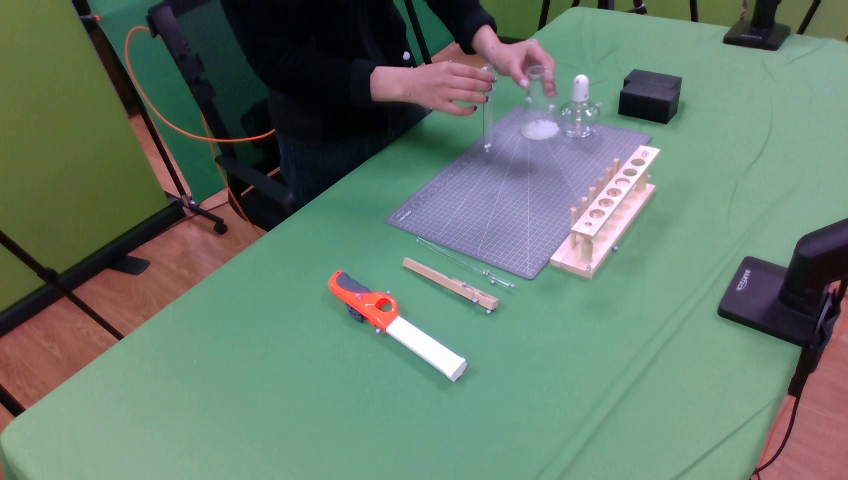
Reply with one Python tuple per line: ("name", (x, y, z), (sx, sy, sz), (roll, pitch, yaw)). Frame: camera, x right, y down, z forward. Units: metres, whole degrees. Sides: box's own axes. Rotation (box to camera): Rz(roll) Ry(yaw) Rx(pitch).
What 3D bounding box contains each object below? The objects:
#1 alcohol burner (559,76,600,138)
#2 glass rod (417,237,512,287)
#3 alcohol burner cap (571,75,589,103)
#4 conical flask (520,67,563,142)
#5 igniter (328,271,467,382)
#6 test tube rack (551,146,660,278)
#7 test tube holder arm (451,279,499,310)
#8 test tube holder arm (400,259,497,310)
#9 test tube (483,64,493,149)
("alcohol burner", (0.298, -0.258, 1.156), (0.078, 0.119, 0.077), (-4, 39, 4))
("glass rod", (0.059, 0.032, 0.945), (0.198, 0.008, 0.008), (27, 52, 38))
("alcohol burner cap", (0.294, -0.284, 1.132), (0.034, 0.048, 0.033), (-4, 46, 5))
("conical flask", (0.202, -0.238, 1.052), (0.075, 0.122, 0.075), (-7, 41, 7))
("igniter", (-0.049, 0.114, 0.854), (0.274, 0.025, 0.057), (29, 63, 37))
("test tube rack", (0.286, -0.053, 0.943), (0.066, 0.085, 0.243), (21, 49, 32))
("test tube holder arm", (0.071, 0.079, 0.882), (0.087, 0.015, 0.010), (24, 14, 34))
("test tube holder arm", (0.033, 0.064, 0.902), (0.177, 0.015, 0.013), (23, 14, 32))
("test tube", (0.109, -0.223, 1.023), (0.017, 0.151, 0.017), (-3, 36, 2))
